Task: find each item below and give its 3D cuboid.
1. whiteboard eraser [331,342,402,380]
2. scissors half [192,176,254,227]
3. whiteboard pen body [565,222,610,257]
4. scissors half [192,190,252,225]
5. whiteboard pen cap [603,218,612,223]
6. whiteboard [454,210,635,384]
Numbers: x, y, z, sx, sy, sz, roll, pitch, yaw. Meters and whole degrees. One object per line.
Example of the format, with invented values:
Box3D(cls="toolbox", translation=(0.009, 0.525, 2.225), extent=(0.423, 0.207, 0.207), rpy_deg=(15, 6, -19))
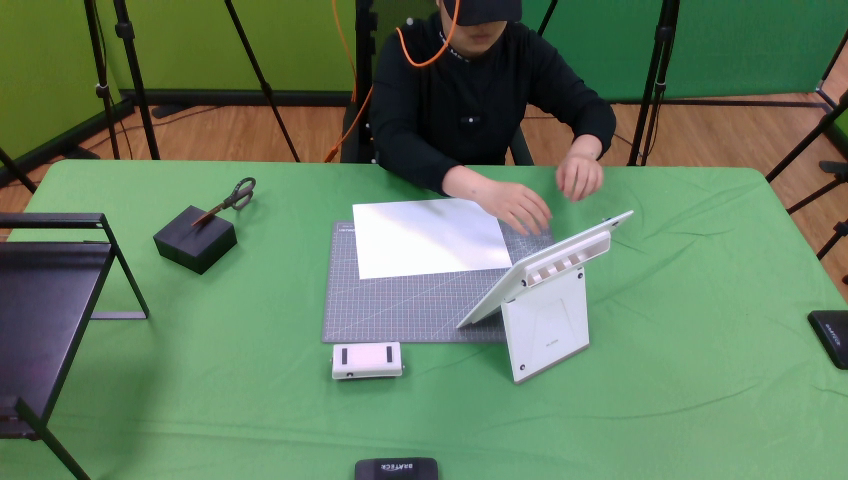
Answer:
Box3D(cls="whiteboard eraser", translation=(-0.094, 0.198, 0.986), extent=(0.113, 0.042, 0.055), rpy_deg=(-2, 44, -6))
Box3D(cls="scissors half", translation=(-0.388, -0.075, 1.174), extent=(0.013, 0.040, 0.174), rpy_deg=(29, 47, 8))
Box3D(cls="whiteboard pen body", translation=(0.335, -0.005, 1.228), extent=(0.141, 0.017, 0.017), rpy_deg=(-33, 56, -28))
Box3D(cls="scissors half", translation=(-0.394, -0.060, 1.187), extent=(0.013, 0.040, 0.175), rpy_deg=(25, 29, 12))
Box3D(cls="whiteboard pen cap", translation=(0.378, -0.032, 1.255), extent=(0.033, 0.018, 0.018), rpy_deg=(-33, 56, -30))
Box3D(cls="whiteboard", translation=(0.210, 0.110, 0.955), extent=(0.217, 0.306, 0.143), rpy_deg=(-21, 72, -23))
